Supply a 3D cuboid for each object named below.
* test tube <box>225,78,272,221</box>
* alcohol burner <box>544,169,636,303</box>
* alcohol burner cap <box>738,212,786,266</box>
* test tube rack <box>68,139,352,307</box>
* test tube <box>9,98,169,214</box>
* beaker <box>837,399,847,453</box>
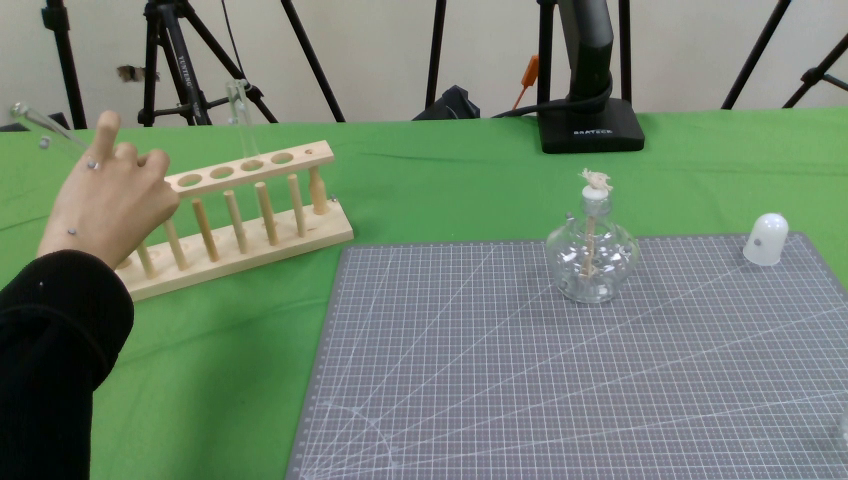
[{"bbox_3d":[-0.168,-0.082,0.587,0.017,0.151,0.017,-2,36,2],"label":"test tube"},{"bbox_3d":[0.141,-0.006,0.512,0.078,0.120,0.077,-4,37,3],"label":"alcohol burner"},{"bbox_3d":[0.308,-0.003,0.549,0.034,0.048,0.033,-3,38,3],"label":"alcohol burner cap"},{"bbox_3d":[-0.201,-0.020,0.593,0.243,0.086,0.066,-16,40,-14],"label":"test tube rack"},{"bbox_3d":[-0.258,-0.062,0.479,0.017,0.152,0.017,-8,62,16],"label":"test tube"},{"bbox_3d":[0.307,0.099,0.373,0.074,0.101,0.083,-20,40,-18],"label":"beaker"}]
